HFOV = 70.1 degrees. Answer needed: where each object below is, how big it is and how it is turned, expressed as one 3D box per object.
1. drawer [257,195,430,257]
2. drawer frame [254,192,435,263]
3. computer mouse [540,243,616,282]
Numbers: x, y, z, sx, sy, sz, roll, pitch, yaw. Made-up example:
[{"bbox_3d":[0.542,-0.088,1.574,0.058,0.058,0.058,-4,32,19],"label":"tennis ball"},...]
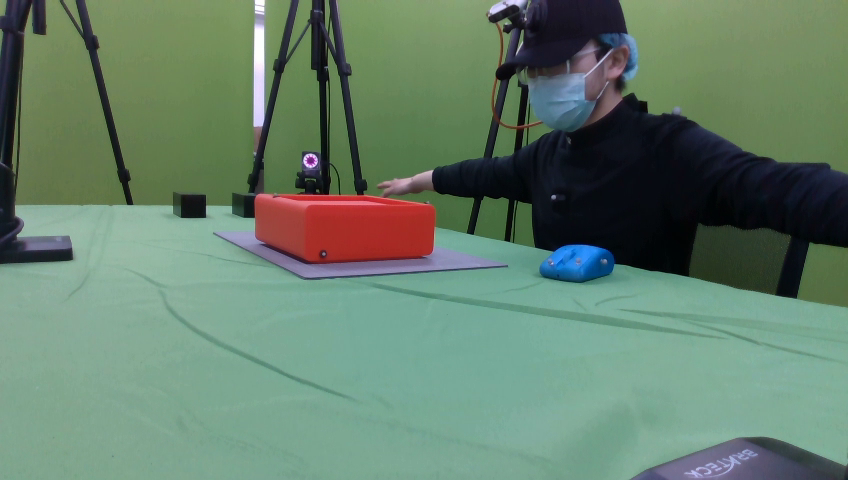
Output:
[{"bbox_3d":[-0.125,-0.025,0.907,0.195,0.073,0.210,-1,9,-32],"label":"drawer"},{"bbox_3d":[-0.124,-0.026,0.904,0.203,0.082,0.212,-2,9,-33],"label":"drawer frame"},{"bbox_3d":[0.204,0.028,0.797,0.062,0.041,0.118,11,15,38],"label":"computer mouse"}]
